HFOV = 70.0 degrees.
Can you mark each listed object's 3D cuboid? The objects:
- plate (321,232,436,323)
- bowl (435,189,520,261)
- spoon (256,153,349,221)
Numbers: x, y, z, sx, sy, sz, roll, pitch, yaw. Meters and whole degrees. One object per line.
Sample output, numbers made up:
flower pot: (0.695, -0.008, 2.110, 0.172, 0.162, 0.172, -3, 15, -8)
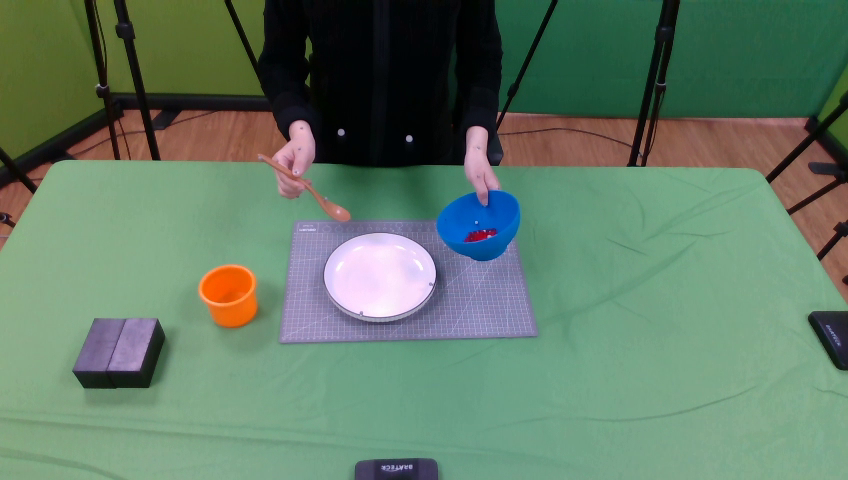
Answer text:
plate: (-0.083, 0.070, 1.109, 0.209, 0.038, 0.208, 3, 46, -3)
bowl: (0.102, -0.015, 1.068, 0.151, 0.077, 0.150, -14, 36, 11)
spoon: (-0.200, -0.089, 1.015, 0.021, 0.195, 0.041, -33, 38, 20)
